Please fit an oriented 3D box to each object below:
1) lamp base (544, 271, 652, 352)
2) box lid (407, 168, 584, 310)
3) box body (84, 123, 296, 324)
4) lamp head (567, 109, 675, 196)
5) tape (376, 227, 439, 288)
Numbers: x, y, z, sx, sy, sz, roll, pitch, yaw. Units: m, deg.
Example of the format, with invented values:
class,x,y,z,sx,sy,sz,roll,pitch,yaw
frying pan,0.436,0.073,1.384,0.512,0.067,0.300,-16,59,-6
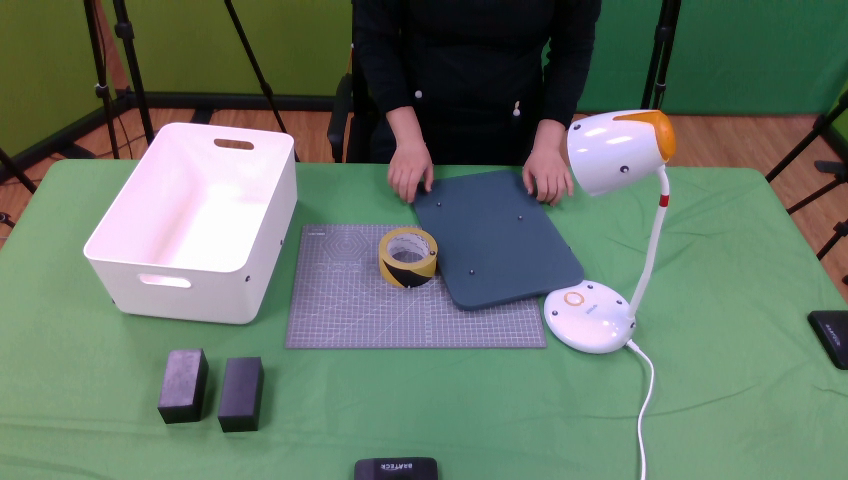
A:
class,x,y,z,sx,sy,sz,roll,pitch,yaw
lamp base,0.310,0.086,1.029,0.178,0.181,0.160,32,52,21
box lid,0.133,-0.017,1.222,0.263,0.015,0.369,-11,45,-12
box body,-0.392,-0.035,1.104,0.254,0.161,0.362,5,46,1
lamp head,0.272,-0.123,0.818,0.122,0.113,0.112,-9,35,37
tape,-0.032,0.032,1.140,0.117,0.053,0.116,2,46,-2
